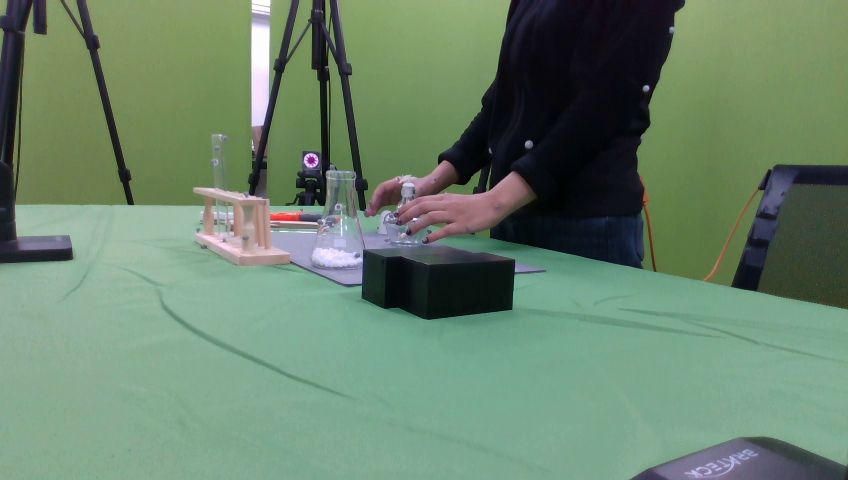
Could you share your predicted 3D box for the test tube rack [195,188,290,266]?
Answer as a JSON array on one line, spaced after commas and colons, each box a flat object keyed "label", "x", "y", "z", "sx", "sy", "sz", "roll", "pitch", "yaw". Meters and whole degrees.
[{"label": "test tube rack", "x": -0.266, "y": -0.025, "z": 0.864, "sx": 0.067, "sy": 0.085, "sz": 0.241, "roll": -2, "pitch": 9, "yaw": -33}]

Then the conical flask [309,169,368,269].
[{"label": "conical flask", "x": -0.107, "y": -0.028, "z": 0.762, "sx": 0.075, "sy": 0.122, "sz": 0.075, "roll": 2, "pitch": 7, "yaw": 0}]

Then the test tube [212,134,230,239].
[{"label": "test tube", "x": -0.290, "y": -0.076, "z": 0.863, "sx": 0.017, "sy": 0.150, "sz": 0.017, "roll": -2, "pitch": 6, "yaw": 0}]

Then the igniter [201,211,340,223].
[{"label": "igniter", "x": -0.311, "y": -0.048, "z": 1.243, "sx": 0.278, "sy": 0.025, "sz": 0.057, "roll": -1, "pitch": -2, "yaw": -24}]

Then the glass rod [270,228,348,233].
[{"label": "glass rod", "x": -0.234, "y": -0.017, "z": 1.105, "sx": 0.201, "sy": 0.008, "sz": 0.008, "roll": 1, "pitch": 7, "yaw": -26}]

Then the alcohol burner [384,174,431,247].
[{"label": "alcohol burner", "x": -0.026, "y": -0.049, "z": 0.994, "sx": 0.078, "sy": 0.119, "sz": 0.078, "roll": 2, "pitch": 10, "yaw": 0}]

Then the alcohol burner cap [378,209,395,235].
[{"label": "alcohol burner cap", "x": -0.070, "y": -0.035, "z": 1.145, "sx": 0.034, "sy": 0.048, "sz": 0.034, "roll": 2, "pitch": 5, "yaw": 0}]

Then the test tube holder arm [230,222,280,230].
[{"label": "test tube holder arm", "x": -0.312, "y": -0.025, "z": 1.118, "sx": 0.088, "sy": 0.015, "sz": 0.010, "roll": -1, "pitch": 45, "yaw": -30}]

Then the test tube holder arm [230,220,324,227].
[{"label": "test tube holder arm", "x": -0.275, "y": -0.030, "z": 1.145, "sx": 0.179, "sy": 0.015, "sz": 0.013, "roll": -2, "pitch": 45, "yaw": -31}]
